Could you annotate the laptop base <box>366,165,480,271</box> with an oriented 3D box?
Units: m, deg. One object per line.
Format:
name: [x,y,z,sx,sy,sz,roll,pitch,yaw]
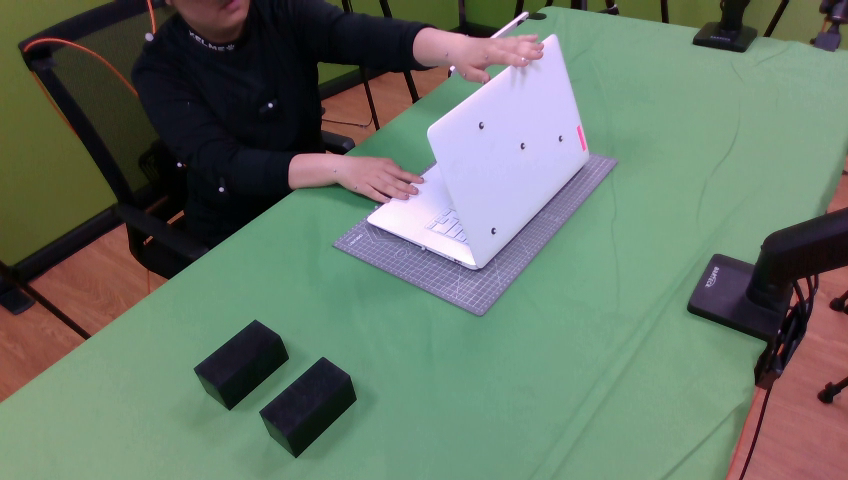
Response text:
laptop base: [0.099,-0.085,1.059,0.233,0.023,0.355,21,48,34]

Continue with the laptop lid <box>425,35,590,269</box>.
laptop lid: [0.150,-0.146,0.941,0.013,0.243,0.358,5,36,45]
